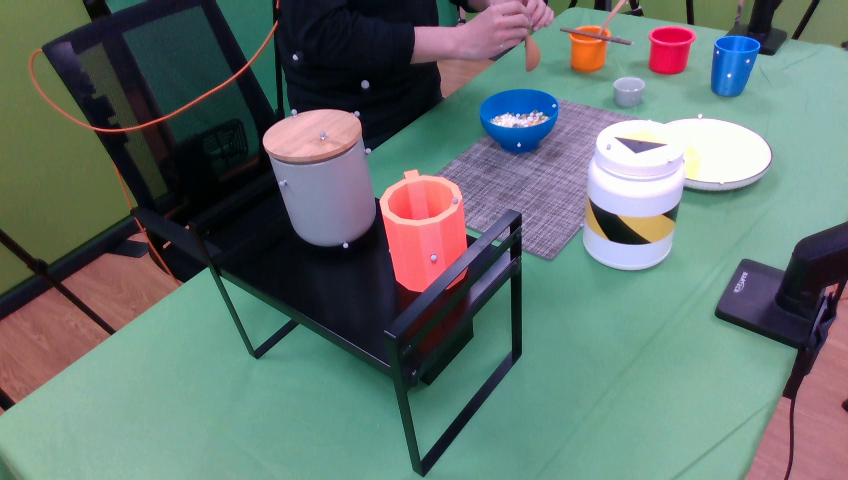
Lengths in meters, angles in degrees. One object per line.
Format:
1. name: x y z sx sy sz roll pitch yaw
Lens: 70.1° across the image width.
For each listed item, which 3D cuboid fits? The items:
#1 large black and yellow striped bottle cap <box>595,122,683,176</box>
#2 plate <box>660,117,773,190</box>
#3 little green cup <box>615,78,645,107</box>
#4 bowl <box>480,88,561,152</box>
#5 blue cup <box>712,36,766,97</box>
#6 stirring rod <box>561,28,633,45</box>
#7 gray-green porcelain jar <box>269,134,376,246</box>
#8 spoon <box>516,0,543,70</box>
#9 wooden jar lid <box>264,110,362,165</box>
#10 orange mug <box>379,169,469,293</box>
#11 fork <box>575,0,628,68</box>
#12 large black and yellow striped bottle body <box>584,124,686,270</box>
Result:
1. large black and yellow striped bottle cap: 0.293 -0.126 0.826 0.115 0.019 0.114 -3 40 3
2. plate: 0.495 -0.148 1.063 0.209 0.038 0.208 -5 40 4
3. little green cup: 0.426 -0.306 1.257 0.061 0.039 0.061 -5 40 4
4. bowl: 0.185 -0.222 1.160 0.151 0.077 0.150 -4 40 4
5. blue cup: 0.627 -0.350 1.227 0.092 0.100 0.092 -4 39 4
6. stirring rod: 0.382 -0.453 1.345 0.174 0.006 0.014 27 52 33
7. gray-green porcelain jar: -0.115 -0.064 0.715 0.106 0.127 0.105 -4 40 4
8. spoon: 0.187 -0.393 1.107 0.041 0.195 0.021 -42 46 -11
9. wooden jar lid: -0.122 -0.112 0.673 0.108 0.021 0.108 -4 37 4
10. orange mug: -0.002 -0.019 0.665 0.083 0.101 0.125 -12 45 -4
11. fork: 0.413 -0.481 1.377 0.207 0.019 0.028 -57 43 12
12. large black and yellow striped bottle body: 0.304 -0.063 0.880 0.131 0.185 0.130 -5 41 5
